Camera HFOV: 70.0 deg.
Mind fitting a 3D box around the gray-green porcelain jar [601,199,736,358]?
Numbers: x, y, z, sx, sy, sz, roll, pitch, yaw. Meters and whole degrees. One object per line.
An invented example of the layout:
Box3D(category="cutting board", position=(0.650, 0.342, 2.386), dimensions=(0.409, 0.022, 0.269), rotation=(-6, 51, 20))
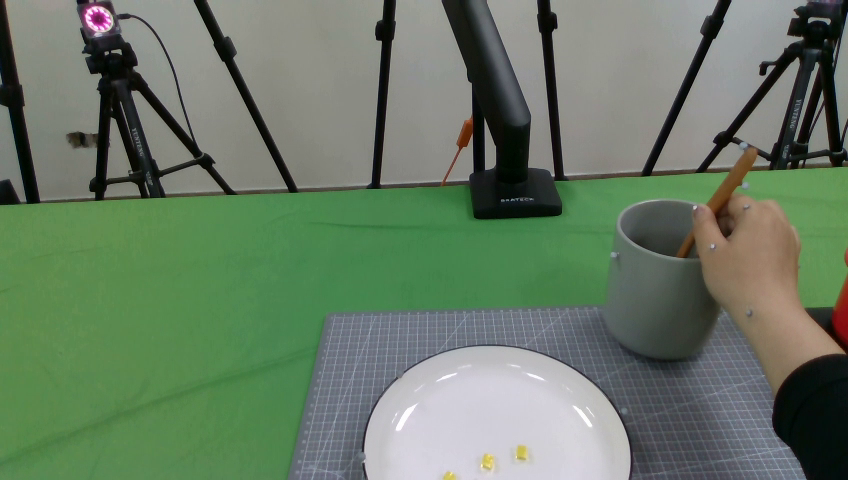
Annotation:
Box3D(category="gray-green porcelain jar", position=(0.227, 0.040, 0.579), dimensions=(0.106, 0.127, 0.105), rotation=(-2, 34, 2))

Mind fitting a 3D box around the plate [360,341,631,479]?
Box3D(category="plate", position=(0.055, 0.165, 0.485), dimensions=(0.207, 0.039, 0.205), rotation=(-2, 34, 2))

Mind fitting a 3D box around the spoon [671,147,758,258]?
Box3D(category="spoon", position=(0.237, 0.001, 0.539), dimensions=(0.022, 0.195, 0.041), rotation=(3, 41, -15))
